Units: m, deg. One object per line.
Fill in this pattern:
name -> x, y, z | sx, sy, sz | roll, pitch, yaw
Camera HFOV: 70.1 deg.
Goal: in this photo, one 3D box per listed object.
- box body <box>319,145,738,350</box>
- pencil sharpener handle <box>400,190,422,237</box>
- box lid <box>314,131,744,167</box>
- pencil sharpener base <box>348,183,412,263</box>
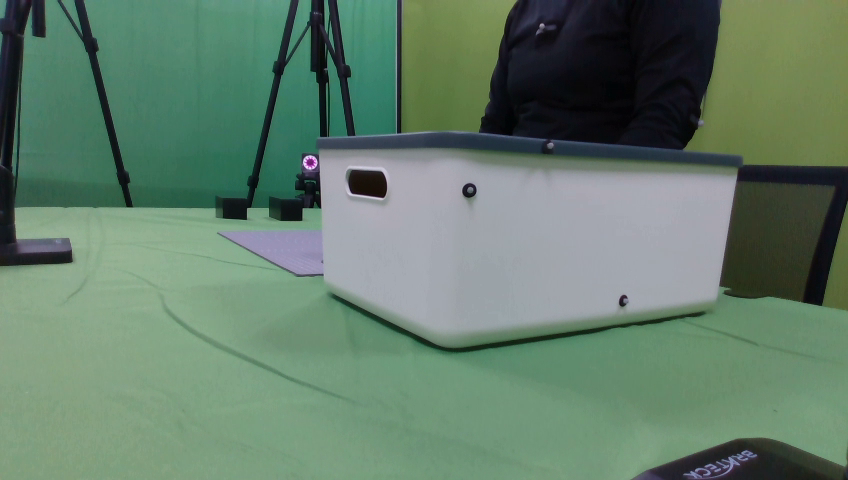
box body -> 0.100, -0.013, 0.611 | 0.366, 0.160, 0.253 | -2, 8, -32
pencil sharpener handle -> -0.016, -0.037, 0.872 | 0.031, 0.067, 0.036 | -1, 16, -30
box lid -> 0.101, -0.085, 0.602 | 0.373, 0.015, 0.262 | -2, 8, -32
pencil sharpener base -> -0.059, -0.024, 0.846 | 0.077, 0.107, 0.061 | -1, 7, -30
